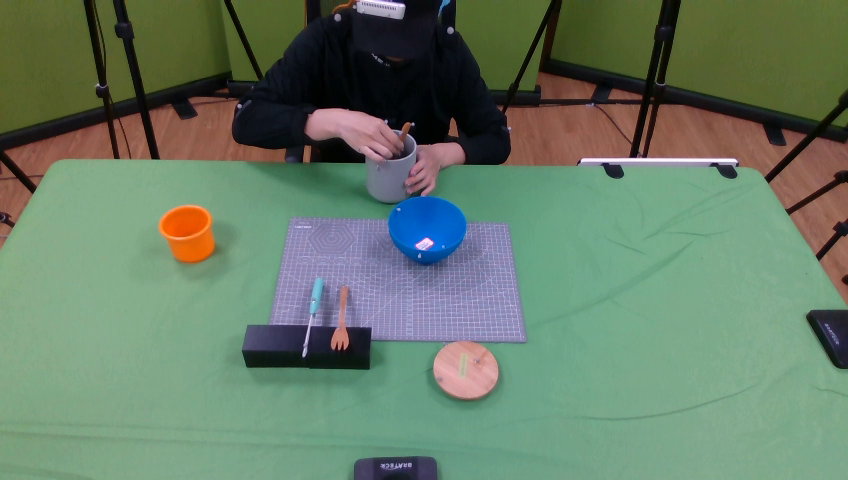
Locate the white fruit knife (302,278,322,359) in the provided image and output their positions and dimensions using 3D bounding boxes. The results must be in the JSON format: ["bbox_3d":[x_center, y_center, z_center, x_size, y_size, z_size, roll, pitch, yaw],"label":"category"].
[{"bbox_3d":[-0.189,0.126,1.020,0.016,0.027,0.206,0,33,-3],"label":"white fruit knife"}]

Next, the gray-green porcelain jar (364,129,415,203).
[{"bbox_3d":[-0.073,-0.150,1.264,0.106,0.127,0.105,2,46,-2],"label":"gray-green porcelain jar"}]

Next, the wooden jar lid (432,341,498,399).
[{"bbox_3d":[0.067,0.216,0.997,0.108,0.021,0.107,1,46,-1],"label":"wooden jar lid"}]

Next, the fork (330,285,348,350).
[{"bbox_3d":[-0.140,0.127,1.021,0.028,0.019,0.206,-5,28,-2],"label":"fork"}]

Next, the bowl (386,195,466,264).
[{"bbox_3d":[0.002,-0.007,1.162,0.151,0.077,0.150,2,46,-2],"label":"bowl"}]
